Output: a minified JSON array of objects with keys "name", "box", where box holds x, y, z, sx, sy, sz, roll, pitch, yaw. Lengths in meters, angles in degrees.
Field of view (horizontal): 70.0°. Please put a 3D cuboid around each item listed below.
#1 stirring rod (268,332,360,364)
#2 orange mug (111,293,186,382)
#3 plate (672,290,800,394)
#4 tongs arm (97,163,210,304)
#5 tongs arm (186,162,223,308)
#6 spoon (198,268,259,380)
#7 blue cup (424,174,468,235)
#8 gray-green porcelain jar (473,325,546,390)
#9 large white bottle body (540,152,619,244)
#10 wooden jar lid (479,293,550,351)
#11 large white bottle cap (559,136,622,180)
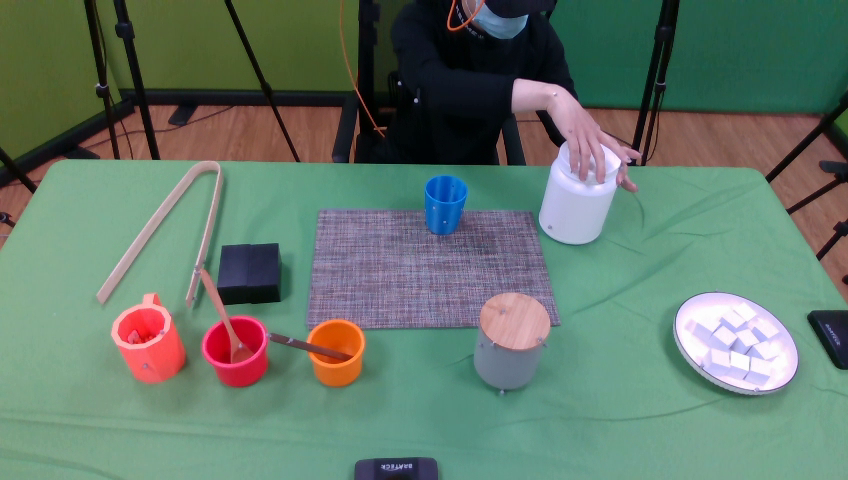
[{"name":"stirring rod","box":[-0.167,0.169,0.942,0.177,0.006,0.014,26,25,-41]},{"name":"orange mug","box":[-0.435,0.149,0.969,0.083,0.101,0.125,-5,51,-8]},{"name":"plate","box":[0.533,0.178,1.050,0.208,0.039,0.206,2,46,-2]},{"name":"tongs arm","box":[-0.520,-0.028,1.183,0.028,0.028,0.385,5,45,12]},{"name":"tongs arm","box":[-0.436,-0.024,1.181,0.051,0.026,0.382,-2,45,0]},{"name":"spoon","box":[-0.313,0.132,0.962,0.041,0.021,0.194,-24,96,-21]},{"name":"blue cup","box":[0.039,-0.065,1.201,0.093,0.101,0.092,3,47,-3]},{"name":"gray-green porcelain jar","box":[0.135,0.170,0.969,0.106,0.127,0.105,2,46,-2]},{"name":"large white bottle body","box":[0.308,-0.096,1.198,0.131,0.185,0.130,2,46,-1]},{"name":"wooden jar lid","box":[0.137,0.127,0.925,0.108,0.021,0.107,1,47,-1]},{"name":"large white bottle cap","box":[0.312,-0.156,1.137,0.115,0.018,0.114,2,47,-2]}]
